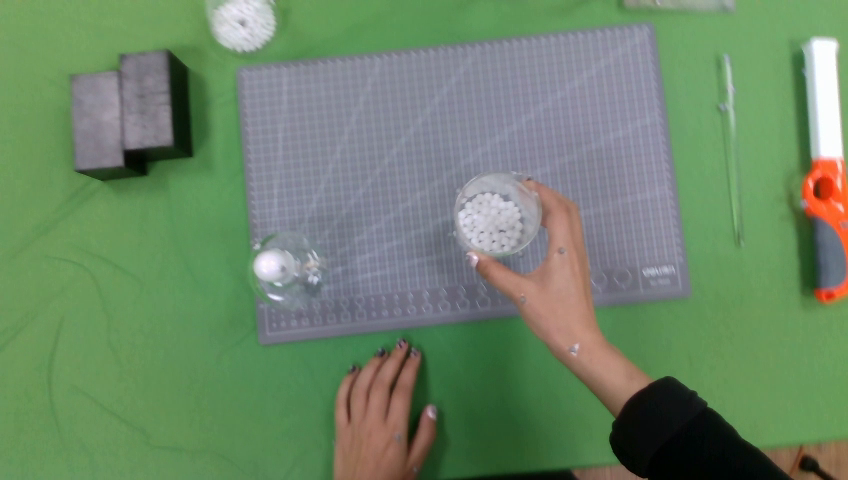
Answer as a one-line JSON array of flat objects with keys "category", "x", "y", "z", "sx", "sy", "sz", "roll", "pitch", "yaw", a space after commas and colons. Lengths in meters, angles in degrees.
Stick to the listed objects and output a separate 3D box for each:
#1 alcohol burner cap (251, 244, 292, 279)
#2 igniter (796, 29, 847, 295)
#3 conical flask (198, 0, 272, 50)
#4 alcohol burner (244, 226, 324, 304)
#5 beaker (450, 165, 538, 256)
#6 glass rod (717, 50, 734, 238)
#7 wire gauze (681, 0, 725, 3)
[{"category": "alcohol burner cap", "x": -0.138, "y": 0.019, "z": 0.543, "sx": 0.034, "sy": 0.048, "sz": 0.034, "roll": 0, "pitch": 89, "yaw": -3}, {"category": "igniter", "x": 0.412, "y": -0.082, "z": 0.628, "sx": 0.057, "sy": 0.025, "sz": 0.276, "roll": 0, "pitch": 86, "yaw": -10}, {"category": "conical flask", "x": -0.201, "y": -0.245, "z": 0.597, "sx": 0.075, "sy": 0.122, "sz": 0.075, "roll": 0, "pitch": 85, "yaw": 1}, {"category": "alcohol burner", "x": -0.138, "y": 0.023, "z": 0.579, "sx": 0.078, "sy": 0.119, "sz": 0.077, "roll": 0, "pitch": 85, "yaw": 3}, {"category": "beaker", "x": 0.062, "y": -0.024, "z": 0.557, "sx": 0.074, "sy": 0.100, "sz": 0.084, "roll": 38, "pitch": 86, "yaw": 3}, {"category": "glass rod", "x": 0.319, "y": -0.101, "z": 0.639, "sx": 0.008, "sy": 0.008, "sz": 0.199, "roll": -3, "pitch": 88, "yaw": 0}, {"category": "wire gauze", "x": 0.264, "y": -0.317, "z": 0.656, "sx": 0.125, "sy": 0.011, "sz": 0.121, "roll": -1, "pitch": 86, "yaw": -1}]
